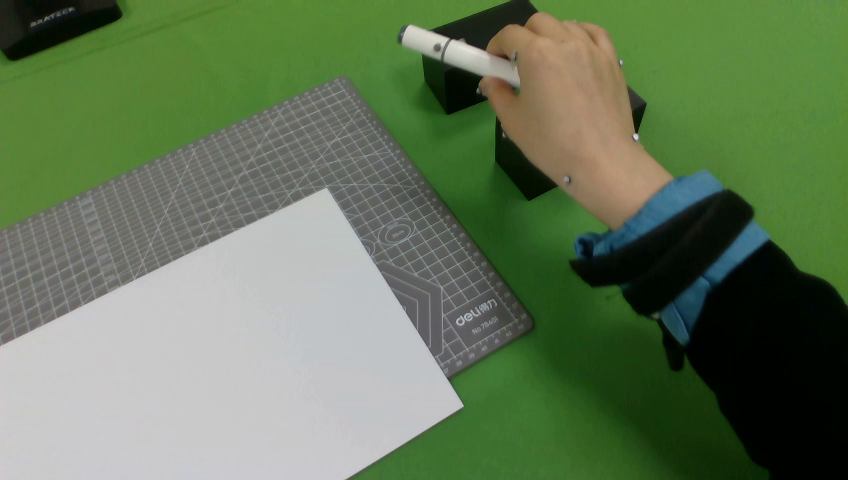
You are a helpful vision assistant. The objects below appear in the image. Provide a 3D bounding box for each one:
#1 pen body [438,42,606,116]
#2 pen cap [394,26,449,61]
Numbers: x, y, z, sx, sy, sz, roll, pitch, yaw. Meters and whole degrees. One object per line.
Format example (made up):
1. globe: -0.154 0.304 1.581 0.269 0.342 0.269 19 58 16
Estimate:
1. pen body: 0.052 -0.113 0.412 0.143 0.017 0.017 24 63 15
2. pen cap: -0.002 -0.139 0.427 0.038 0.017 0.017 24 63 15
